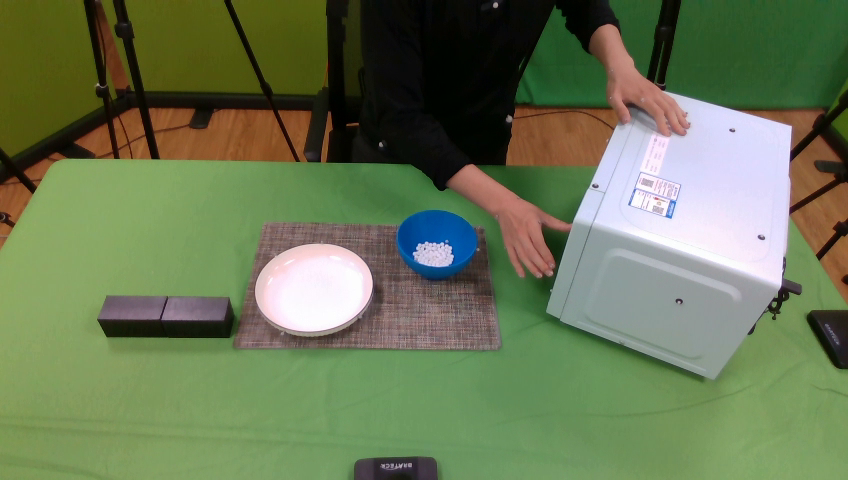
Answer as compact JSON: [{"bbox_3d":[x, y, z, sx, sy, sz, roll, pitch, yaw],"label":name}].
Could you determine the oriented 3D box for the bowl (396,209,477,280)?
[{"bbox_3d":[0.021,0.021,1.134,0.151,0.077,0.150,2,46,-2],"label":"bowl"}]

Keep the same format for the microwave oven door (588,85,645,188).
[{"bbox_3d":[0.342,-0.107,1.148,0.039,0.245,0.354,20,48,15],"label":"microwave oven door"}]

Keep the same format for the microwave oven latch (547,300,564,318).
[{"bbox_3d":[0.242,0.102,1.081,0.030,0.029,0.079,21,48,17],"label":"microwave oven latch"}]

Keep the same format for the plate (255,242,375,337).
[{"bbox_3d":[-0.192,0.090,1.079,0.208,0.039,0.206,2,46,-2],"label":"plate"}]

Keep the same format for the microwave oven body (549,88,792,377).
[{"bbox_3d":[0.456,-0.028,1.088,0.325,0.261,0.440,20,47,16],"label":"microwave oven body"}]
